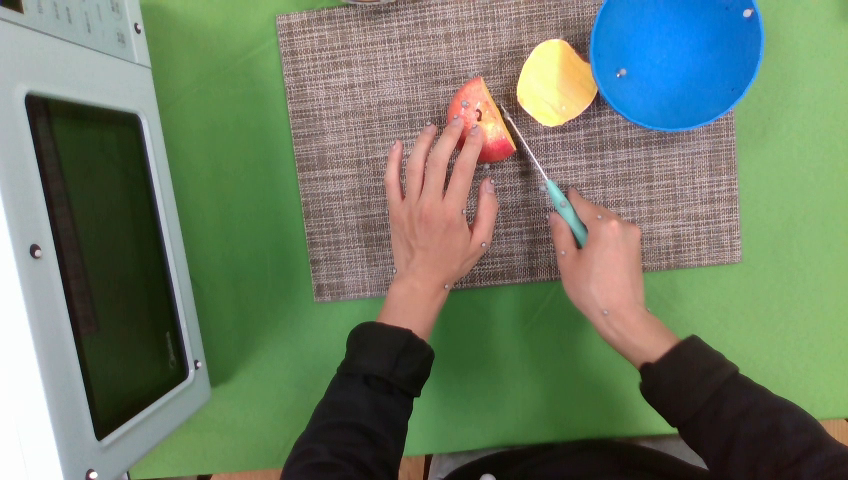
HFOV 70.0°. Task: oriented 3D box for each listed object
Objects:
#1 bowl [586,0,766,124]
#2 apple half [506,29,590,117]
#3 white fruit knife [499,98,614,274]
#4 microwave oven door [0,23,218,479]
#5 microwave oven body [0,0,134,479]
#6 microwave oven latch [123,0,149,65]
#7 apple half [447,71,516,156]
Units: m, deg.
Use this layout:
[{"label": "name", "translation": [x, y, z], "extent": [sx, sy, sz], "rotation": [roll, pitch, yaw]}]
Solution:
[{"label": "bowl", "translation": [0.222, -0.181, 0.565], "extent": [0.151, 0.076, 0.151], "rotation": [1, 98, 5]}, {"label": "apple half", "translation": [0.118, -0.161, 0.593], "extent": [0.081, 0.032, 0.081], "rotation": [1, 105, 6]}, {"label": "white fruit knife", "translation": [0.129, -0.056, 0.604], "extent": [0.016, 0.027, 0.206], "rotation": [-32, 83, 8]}, {"label": "microwave oven door", "translation": [-0.278, 0.012, 0.531], "extent": [0.039, 0.243, 0.356], "rotation": [-8, 97, 6]}, {"label": "microwave oven body", "translation": [-0.428, -0.010, 0.543], "extent": [0.326, 0.259, 0.442], "rotation": [-8, 97, 4]}, {"label": "microwave oven latch", "translation": [-0.300, -0.215, 0.604], "extent": [0.030, 0.029, 0.079], "rotation": [-8, 98, 5]}, {"label": "apple half", "translation": [0.050, -0.116, 0.589], "extent": [0.053, 0.074, 0.081], "rotation": [-27, 96, 16]}]
